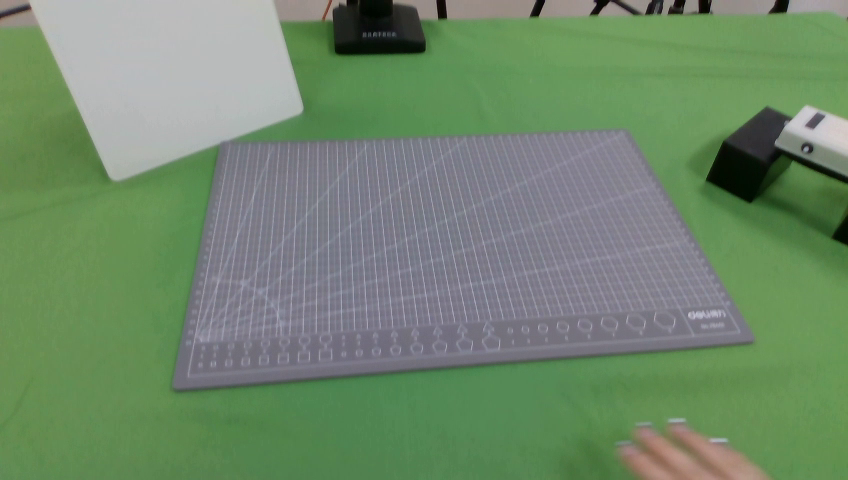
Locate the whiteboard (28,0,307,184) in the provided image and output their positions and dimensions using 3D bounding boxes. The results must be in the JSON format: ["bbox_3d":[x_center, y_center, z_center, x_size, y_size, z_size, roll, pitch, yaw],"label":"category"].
[{"bbox_3d":[-0.284,-0.250,0.614,0.217,0.308,0.142,-29,34,-28],"label":"whiteboard"}]

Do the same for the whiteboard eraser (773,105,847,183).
[{"bbox_3d":[0.392,-0.082,0.564,0.111,0.042,0.055,34,54,30],"label":"whiteboard eraser"}]
